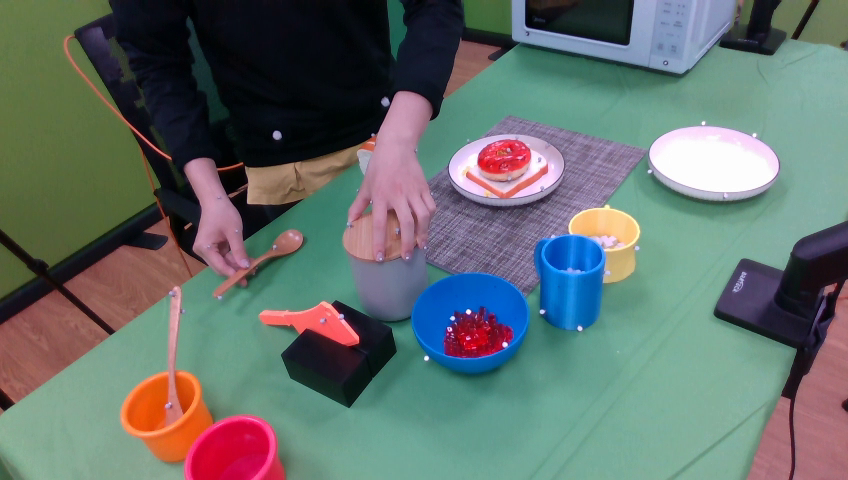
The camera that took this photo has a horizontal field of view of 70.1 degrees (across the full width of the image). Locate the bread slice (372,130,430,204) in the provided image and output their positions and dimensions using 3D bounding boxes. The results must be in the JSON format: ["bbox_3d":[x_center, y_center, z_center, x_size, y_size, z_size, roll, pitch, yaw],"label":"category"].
[{"bbox_3d":[-0.043,-0.127,1.038,0.106,0.135,0.018,29,61,33],"label":"bread slice"}]

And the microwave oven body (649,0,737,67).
[{"bbox_3d":[0.475,-0.602,1.411,0.438,0.261,0.327,23,50,32],"label":"microwave oven body"}]

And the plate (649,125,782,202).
[{"bbox_3d":[0.493,-0.127,1.036,0.207,0.039,0.206,-4,40,4],"label":"plate"}]

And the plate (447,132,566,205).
[{"bbox_3d":[0.146,-0.124,1.076,0.209,0.038,0.208,-4,41,4],"label":"plate"}]

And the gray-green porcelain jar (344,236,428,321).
[{"bbox_3d":[-0.049,0.042,0.849,0.106,0.127,0.105,-4,41,4],"label":"gray-green porcelain jar"}]

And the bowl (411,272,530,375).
[{"bbox_3d":[0.061,0.120,0.780,0.151,0.077,0.150,-4,40,4],"label":"bowl"}]

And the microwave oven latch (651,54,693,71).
[{"bbox_3d":[0.531,-0.386,1.301,0.078,0.029,0.030,26,51,33],"label":"microwave oven latch"}]

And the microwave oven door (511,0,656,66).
[{"bbox_3d":[0.351,-0.539,1.348,0.353,0.245,0.039,24,50,31],"label":"microwave oven door"}]

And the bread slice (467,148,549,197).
[{"bbox_3d":[0.156,-0.128,1.085,0.132,0.019,0.104,-35,48,-23],"label":"bread slice"}]

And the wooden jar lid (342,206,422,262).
[{"bbox_3d":[-0.056,-0.005,0.808,0.108,0.021,0.108,-6,40,6],"label":"wooden jar lid"}]

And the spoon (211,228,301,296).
[{"bbox_3d":[-0.262,0.032,0.948,0.041,0.021,0.194,35,38,10],"label":"spoon"}]

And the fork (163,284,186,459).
[{"bbox_3d":[-0.302,0.157,0.733,0.028,0.019,0.207,-3,84,15],"label":"fork"}]

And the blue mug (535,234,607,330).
[{"bbox_3d":[0.190,0.048,0.824,0.082,0.106,0.115,-26,44,-21],"label":"blue mug"}]

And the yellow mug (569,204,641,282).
[{"bbox_3d":[0.268,-0.005,0.904,0.099,0.064,0.130,7,41,15],"label":"yellow mug"}]

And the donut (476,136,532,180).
[{"bbox_3d":[0.140,-0.146,1.058,0.099,0.048,0.098,-7,41,6],"label":"donut"}]

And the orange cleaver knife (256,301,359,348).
[{"bbox_3d":[-0.160,0.115,0.813,0.210,0.077,0.012,-9,29,48],"label":"orange cleaver knife"}]
